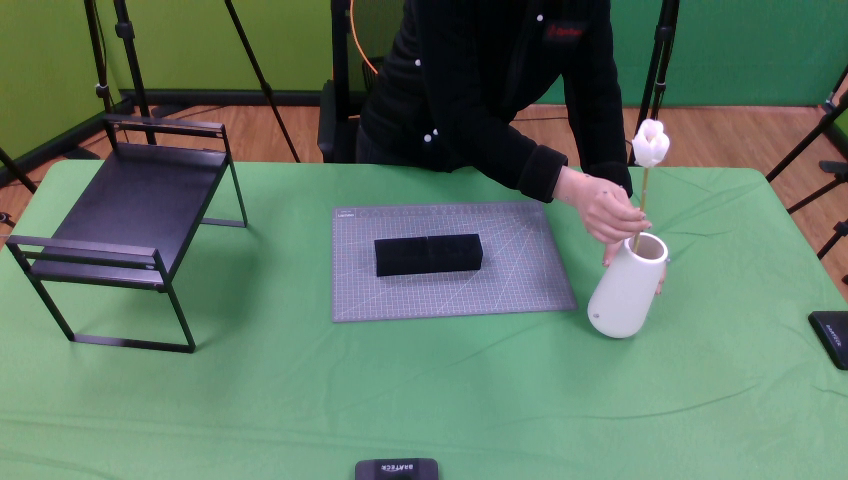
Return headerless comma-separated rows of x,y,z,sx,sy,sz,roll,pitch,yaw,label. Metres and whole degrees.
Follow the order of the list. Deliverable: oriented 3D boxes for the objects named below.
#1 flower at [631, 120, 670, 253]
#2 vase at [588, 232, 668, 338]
0.311,-0.033,0.875,0.038,0.364,0.044,-25,55,-4,flower
0.344,0.079,1.022,0.098,0.201,0.097,2,47,-1,vase
